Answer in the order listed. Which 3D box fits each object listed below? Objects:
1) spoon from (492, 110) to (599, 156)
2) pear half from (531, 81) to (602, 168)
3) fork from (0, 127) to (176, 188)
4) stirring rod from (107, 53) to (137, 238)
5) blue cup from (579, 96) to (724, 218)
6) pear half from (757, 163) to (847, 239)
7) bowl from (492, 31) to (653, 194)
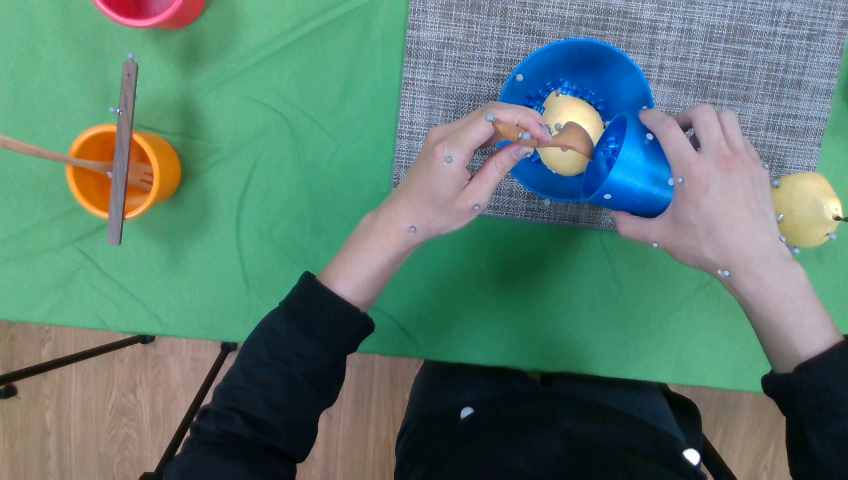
[{"bbox_3d":[0.100,-0.084,0.475,0.021,0.194,0.041,-35,76,34],"label":"spoon"},{"bbox_3d":[0.142,-0.115,0.595,0.070,0.031,0.088,-20,96,-1],"label":"pear half"},{"bbox_3d":[-0.339,-0.085,0.574,0.209,0.018,0.028,15,116,-48],"label":"fork"},{"bbox_3d":[-0.286,-0.087,0.572,0.014,0.006,0.176,10,103,-5],"label":"stirring rod"},{"bbox_3d":[0.202,-0.063,0.535,0.100,0.092,0.093,20,101,-4],"label":"blue cup"},{"bbox_3d":[0.375,-0.036,0.604,0.056,0.109,0.076,-12,98,3],"label":"pear half"},{"bbox_3d":[0.139,-0.124,0.600,0.151,0.076,0.152,0,102,0],"label":"bowl"}]
